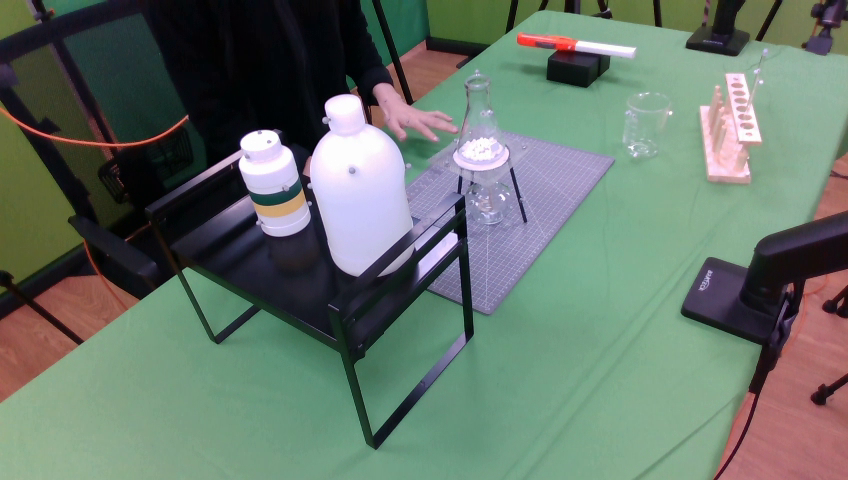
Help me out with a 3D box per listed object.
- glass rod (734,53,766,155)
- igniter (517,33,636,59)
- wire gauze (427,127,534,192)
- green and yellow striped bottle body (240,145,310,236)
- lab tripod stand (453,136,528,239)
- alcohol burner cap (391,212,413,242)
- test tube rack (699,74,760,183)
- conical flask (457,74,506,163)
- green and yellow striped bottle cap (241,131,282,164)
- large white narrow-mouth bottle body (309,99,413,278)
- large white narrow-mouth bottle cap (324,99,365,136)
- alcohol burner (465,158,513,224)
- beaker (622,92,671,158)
[{"bbox_3d":[0.540,-0.220,1.007,0.008,0.201,0.008,-5,46,6],"label":"glass rod"},{"bbox_3d":[0.336,-0.441,1.369,0.275,0.025,0.057,17,41,24],"label":"igniter"},{"bbox_3d":[0.086,-0.130,0.925,0.124,0.011,0.122,28,54,31],"label":"wire gauze"},{"bbox_3d":[-0.181,-0.069,0.729,0.063,0.120,0.063,-4,40,4],"label":"green and yellow striped bottle body"},{"bbox_3d":[0.095,-0.086,0.974,0.148,0.132,0.147,-4,43,4],"label":"lab tripod stand"},{"bbox_3d":[-0.038,-0.023,0.989,0.034,0.048,0.033,-5,40,5],"label":"alcohol burner cap"},{"bbox_3d":[0.547,-0.208,1.095,0.066,0.085,0.242,6,42,16],"label":"test tube rack"},{"bbox_3d":[0.082,-0.181,0.893,0.075,0.122,0.075,-4,41,4],"label":"conical flask"},{"bbox_3d":[-0.187,-0.107,0.695,0.045,0.020,0.045,-3,39,3],"label":"green and yellow striped bottle cap"},{"bbox_3d":[-0.069,-0.057,0.644,0.102,0.195,0.101,-3,42,3],"label":"large white narrow-mouth bottle body"},{"bbox_3d":[-0.076,-0.119,0.586,0.038,0.024,0.037,-3,42,3],"label":"large white narrow-mouth bottle cap"},{"bbox_3d":[0.105,-0.085,0.987,0.078,0.119,0.077,-5,43,5],"label":"alcohol burner"},{"bbox_3d":[0.402,-0.209,1.106,0.074,0.101,0.083,-9,40,-2],"label":"beaker"}]
